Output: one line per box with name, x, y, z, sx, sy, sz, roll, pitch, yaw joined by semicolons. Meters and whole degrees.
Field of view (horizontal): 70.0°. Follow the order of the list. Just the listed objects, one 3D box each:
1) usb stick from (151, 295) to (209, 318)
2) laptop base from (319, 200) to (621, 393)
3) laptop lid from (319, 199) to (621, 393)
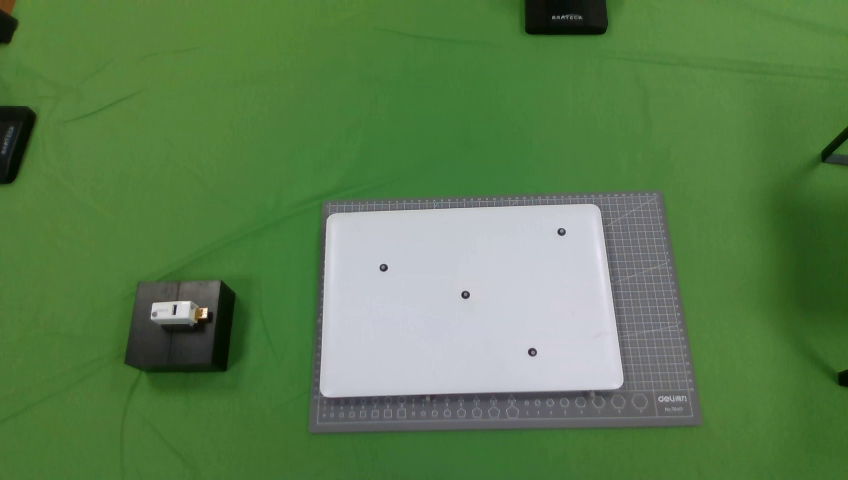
usb stick;-0.279;0.077;0.696;0.059;0.027;0.021;0;66;-1
laptop base;0.051;0.065;0.748;0.354;0.023;0.234;-2;71;1
laptop lid;0.050;0.063;0.736;0.357;0.013;0.240;0;71;2
